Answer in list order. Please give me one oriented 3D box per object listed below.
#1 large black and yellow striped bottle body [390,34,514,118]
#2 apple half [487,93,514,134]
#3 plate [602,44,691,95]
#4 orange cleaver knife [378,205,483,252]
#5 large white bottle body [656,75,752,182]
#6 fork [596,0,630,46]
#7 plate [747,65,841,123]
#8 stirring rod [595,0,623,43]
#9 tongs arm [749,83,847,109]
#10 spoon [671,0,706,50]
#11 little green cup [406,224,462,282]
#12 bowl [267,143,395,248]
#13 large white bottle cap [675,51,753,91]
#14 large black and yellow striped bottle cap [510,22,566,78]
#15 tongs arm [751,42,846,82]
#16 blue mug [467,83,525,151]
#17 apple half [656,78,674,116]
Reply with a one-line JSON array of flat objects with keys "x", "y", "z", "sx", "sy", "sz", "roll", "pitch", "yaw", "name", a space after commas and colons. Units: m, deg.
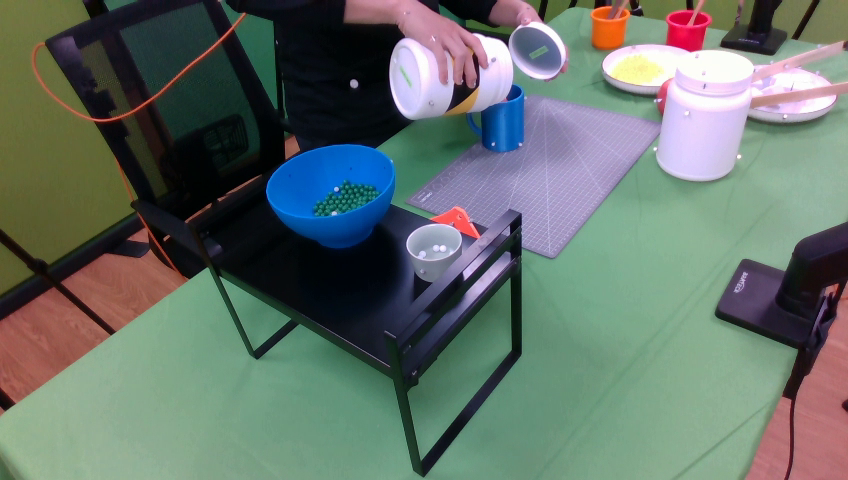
[{"x": 0.049, "y": -0.284, "z": 1.039, "sx": 0.185, "sy": 0.131, "sz": 0.129, "roll": -13, "pitch": 39, "yaw": -26, "name": "large black and yellow striped bottle body"}, {"x": 0.141, "y": -0.239, "z": 1.158, "sx": 0.033, "sy": 0.081, "sz": 0.080, "roll": -13, "pitch": 40, "yaw": -17, "name": "apple half"}, {"x": 0.495, "y": -0.367, "z": 1.317, "sx": 0.209, "sy": 0.038, "sz": 0.208, "roll": -4, "pitch": 40, "yaw": 4, "name": "plate"}, {"x": 0.005, "y": -0.010, "z": 0.943, "sx": 0.210, "sy": 0.077, "sz": 0.012, "roll": -5, "pitch": 23, "yaw": 47, "name": "orange cleaver knife"}, {"x": 0.472, "y": -0.207, "z": 1.022, "sx": 0.130, "sy": 0.185, "sz": 0.130, "roll": -4, "pitch": 41, "yaw": 4, "name": "large white bottle body"}, {"x": 0.481, "y": -0.556, "z": 1.452, "sx": 0.028, "sy": 0.019, "sz": 0.207, "roll": 40, "pitch": 103, "yaw": 40, "name": "fork"}, {"x": 0.695, "y": -0.282, "z": 1.189, "sx": 0.207, "sy": 0.039, "sz": 0.206, "roll": -4, "pitch": 40, "yaw": 4, "name": "plate"}, {"x": 0.460, "y": -0.556, "z": 1.459, "sx": 0.014, "sy": 0.006, "sz": 0.176, "roll": 30, "pitch": 93, "yaw": 23, "name": "stirring rod"}, {"x": 0.734, "y": -0.280, "z": 1.133, "sx": 0.388, "sy": 0.028, "sz": 0.028, "roll": -9, "pitch": 47, "yaw": -5, "name": "tongs arm"}, {"x": 0.629, "y": -0.520, "z": 1.394, "sx": 0.041, "sy": 0.022, "sz": 0.193, "roll": 30, "pitch": 96, "yaw": 34, "name": "spoon"}, {"x": 0.013, "y": 0.015, "z": 0.668, "sx": 0.061, "sy": 0.039, "sz": 0.061, "roll": -4, "pitch": 40, "yaw": 4, "name": "little green cup"}, {"x": -0.104, "y": -0.043, "z": 0.726, "sx": 0.151, "sy": 0.077, "sz": 0.150, "roll": -4, "pitch": 41, "yaw": 4, "name": "bowl"}, {"x": 0.463, "y": -0.271, "z": 0.967, "sx": 0.115, "sy": 0.018, "sz": 0.114, "roll": -4, "pitch": 40, "yaw": 3, "name": "large white bottle cap"}, {"x": 0.217, "y": -0.362, "z": 1.158, "sx": 0.114, "sy": 0.116, "sz": 0.019, "roll": 23, "pitch": 62, "yaw": 31, "name": "large black and yellow striped bottle cap"}, {"x": 0.708, "y": -0.331, "z": 1.193, "sx": 0.386, "sy": 0.026, "sz": 0.050, "roll": -18, "pitch": 45, "yaw": -16, "name": "tongs arm"}, {"x": 0.138, "y": -0.241, "z": 1.169, "sx": 0.116, "sy": 0.106, "sz": 0.082, "roll": 11, "pitch": 44, "yaw": 21, "name": "blue mug"}, {"x": 0.488, "y": -0.281, "z": 1.192, "sx": 0.053, "sy": 0.075, "sz": 0.081, "roll": 24, "pitch": 54, "yaw": 37, "name": "apple half"}]
